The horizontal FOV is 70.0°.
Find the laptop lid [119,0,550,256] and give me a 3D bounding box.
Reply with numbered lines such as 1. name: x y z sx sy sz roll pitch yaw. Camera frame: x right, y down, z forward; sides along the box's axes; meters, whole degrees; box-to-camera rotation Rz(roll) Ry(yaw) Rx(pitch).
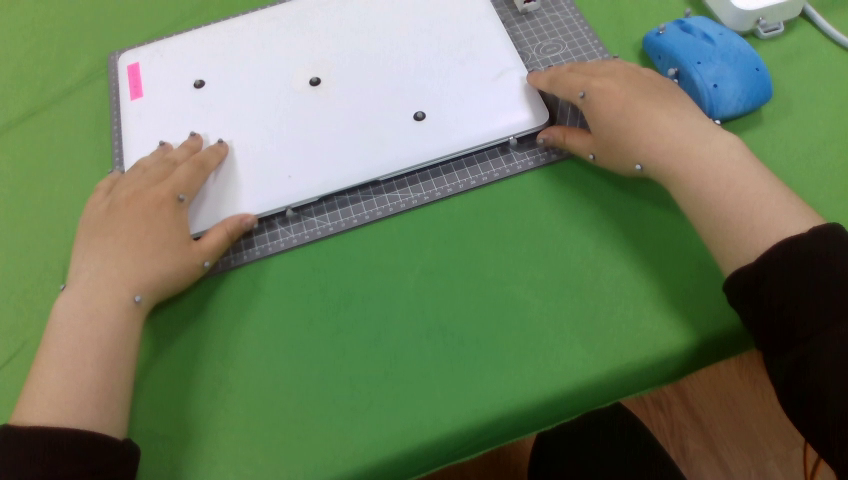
1. laptop lid: -0.094 -0.135 0.538 0.357 0.013 0.239 -17 61 -2

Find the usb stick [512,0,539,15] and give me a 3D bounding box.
1. usb stick: 0.092 -0.247 0.585 0.021 0.027 0.058 -18 56 1

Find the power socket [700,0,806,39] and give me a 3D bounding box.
1. power socket: 0.277 -0.278 0.578 0.072 0.033 0.224 -16 59 -1

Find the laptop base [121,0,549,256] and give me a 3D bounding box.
1. laptop base: -0.093 -0.130 0.549 0.354 0.023 0.233 -18 62 -3

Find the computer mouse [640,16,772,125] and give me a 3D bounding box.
1. computer mouse: 0.233 -0.149 0.505 0.063 0.041 0.116 -19 55 -1
